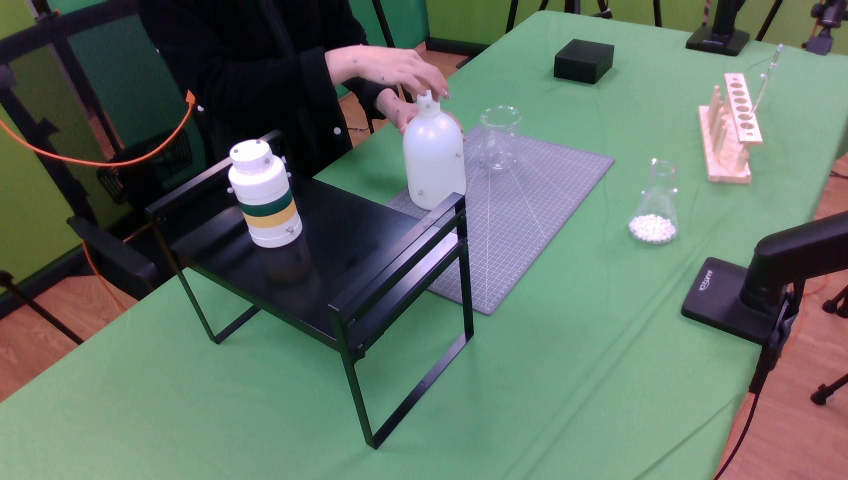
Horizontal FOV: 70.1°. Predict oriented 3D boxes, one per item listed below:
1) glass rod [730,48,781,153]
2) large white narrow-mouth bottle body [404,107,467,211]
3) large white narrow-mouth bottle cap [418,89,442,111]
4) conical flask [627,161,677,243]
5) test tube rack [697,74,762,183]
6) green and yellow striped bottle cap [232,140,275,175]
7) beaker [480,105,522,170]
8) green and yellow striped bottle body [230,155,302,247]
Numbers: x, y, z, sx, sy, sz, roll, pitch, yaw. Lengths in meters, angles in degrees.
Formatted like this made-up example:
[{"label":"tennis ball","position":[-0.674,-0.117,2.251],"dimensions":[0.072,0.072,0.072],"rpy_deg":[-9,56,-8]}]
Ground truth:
[{"label":"glass rod","position":[0.554,-0.228,1.015],"dimensions":[0.008,0.200,0.008],"rpy_deg":[1,44,-1]},{"label":"large white narrow-mouth bottle body","position":[0.017,-0.152,1.017],"dimensions":[0.102,0.195,0.101],"rpy_deg":[-4,39,4]},{"label":"large white narrow-mouth bottle cap","position":[0.009,-0.222,0.961],"dimensions":[0.038,0.024,0.037],"rpy_deg":[-4,38,4]},{"label":"conical flask","position":[0.355,-0.061,0.921],"dimensions":[0.075,0.122,0.075],"rpy_deg":[-4,41,4]},{"label":"test tube rack","position":[0.547,-0.208,1.095],"dimensions":[0.066,0.085,0.242],"rpy_deg":[5,42,15]},{"label":"green and yellow striped bottle cap","position":[-0.192,-0.093,0.680],"dimensions":[0.045,0.020,0.045],"rpy_deg":[-5,39,5]},{"label":"beaker","position":[0.145,-0.187,1.111],"dimensions":[0.084,0.101,0.073],"rpy_deg":[-35,48,-29]},{"label":"green and yellow striped bottle body","position":[-0.188,-0.055,0.714],"dimensions":[0.063,0.120,0.063],"rpy_deg":[-4,41,4]}]
